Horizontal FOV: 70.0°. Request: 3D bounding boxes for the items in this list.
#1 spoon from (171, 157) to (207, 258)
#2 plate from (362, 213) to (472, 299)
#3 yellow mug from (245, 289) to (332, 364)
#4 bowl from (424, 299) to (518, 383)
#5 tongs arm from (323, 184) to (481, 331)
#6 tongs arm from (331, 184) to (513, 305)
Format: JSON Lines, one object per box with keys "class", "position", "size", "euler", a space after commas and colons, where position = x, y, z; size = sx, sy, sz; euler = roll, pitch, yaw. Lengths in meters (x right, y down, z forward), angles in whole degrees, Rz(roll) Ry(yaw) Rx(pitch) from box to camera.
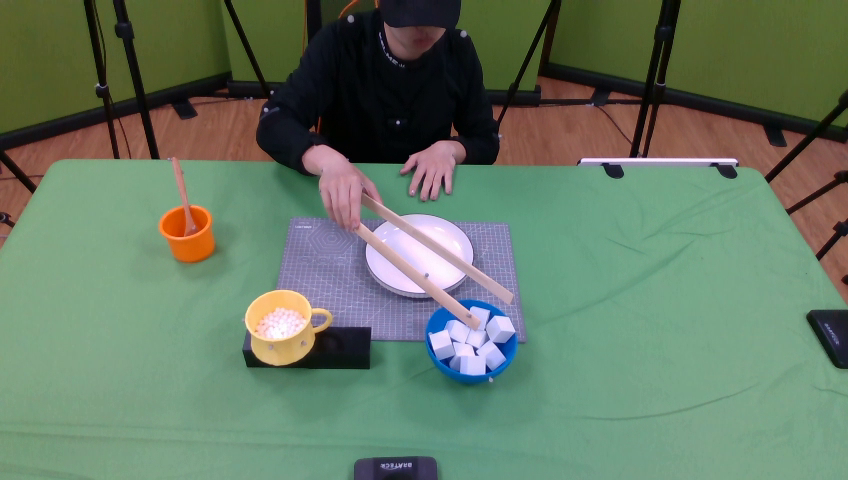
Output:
{"class": "spoon", "position": [-0.444, -0.061, 1.133], "size": [0.042, 0.194, 0.021], "euler": [-12, 4, -18]}
{"class": "plate", "position": [-0.014, 0.034, 1.150], "size": [0.208, 0.039, 0.206], "euler": [2, 46, -2]}
{"class": "yellow mug", "position": [-0.210, 0.133, 0.954], "size": [0.131, 0.064, 0.099], "euler": [-9, 48, -14]}
{"class": "bowl", "position": [0.072, 0.179, 0.993], "size": [0.151, 0.077, 0.150], "euler": [3, 46, -3]}
{"class": "tongs arm", "position": [-0.044, 0.020, 1.017], "size": [0.383, 0.026, 0.051], "euler": [36, 43, 23]}
{"class": "tongs arm", "position": [-0.010, 0.001, 1.053], "size": [0.386, 0.028, 0.028], "euler": [33, 45, 20]}
